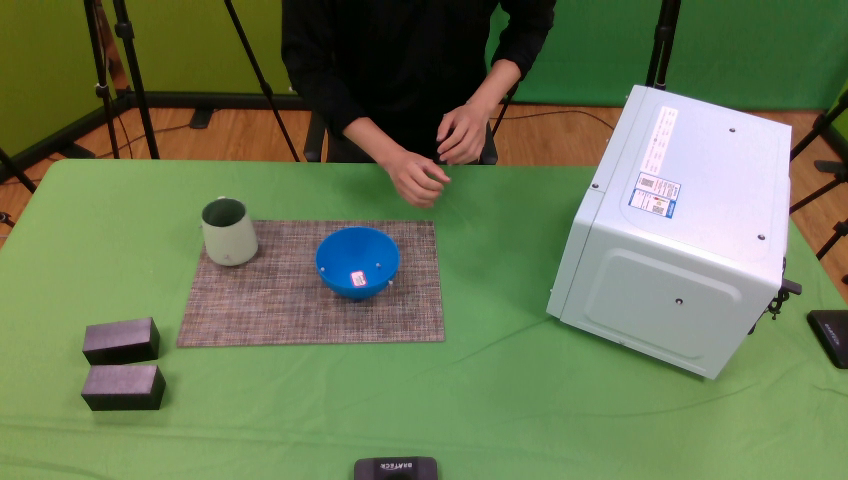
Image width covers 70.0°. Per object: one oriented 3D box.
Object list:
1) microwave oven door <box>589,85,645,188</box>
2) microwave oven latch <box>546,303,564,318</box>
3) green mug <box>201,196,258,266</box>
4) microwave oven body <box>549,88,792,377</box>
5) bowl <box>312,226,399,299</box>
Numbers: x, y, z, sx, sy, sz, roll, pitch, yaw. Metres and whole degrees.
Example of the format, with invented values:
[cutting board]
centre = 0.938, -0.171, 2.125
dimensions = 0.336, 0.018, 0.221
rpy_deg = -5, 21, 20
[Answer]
[microwave oven door]
centre = 0.342, -0.107, 1.149
dimensions = 0.039, 0.245, 0.354
rpy_deg = 20, 48, 15
[microwave oven latch]
centre = 0.242, 0.102, 1.081
dimensions = 0.030, 0.029, 0.079
rpy_deg = 22, 48, 17
[green mug]
centre = -0.366, -0.025, 1.130
dimensions = 0.092, 0.105, 0.124
rpy_deg = -13, 48, -16
[microwave oven body]
centre = 0.456, -0.028, 1.088
dimensions = 0.325, 0.261, 0.440
rpy_deg = 20, 47, 16
[bowl]
centre = -0.120, 0.054, 1.091
dimensions = 0.151, 0.077, 0.150
rpy_deg = 2, 46, -2
